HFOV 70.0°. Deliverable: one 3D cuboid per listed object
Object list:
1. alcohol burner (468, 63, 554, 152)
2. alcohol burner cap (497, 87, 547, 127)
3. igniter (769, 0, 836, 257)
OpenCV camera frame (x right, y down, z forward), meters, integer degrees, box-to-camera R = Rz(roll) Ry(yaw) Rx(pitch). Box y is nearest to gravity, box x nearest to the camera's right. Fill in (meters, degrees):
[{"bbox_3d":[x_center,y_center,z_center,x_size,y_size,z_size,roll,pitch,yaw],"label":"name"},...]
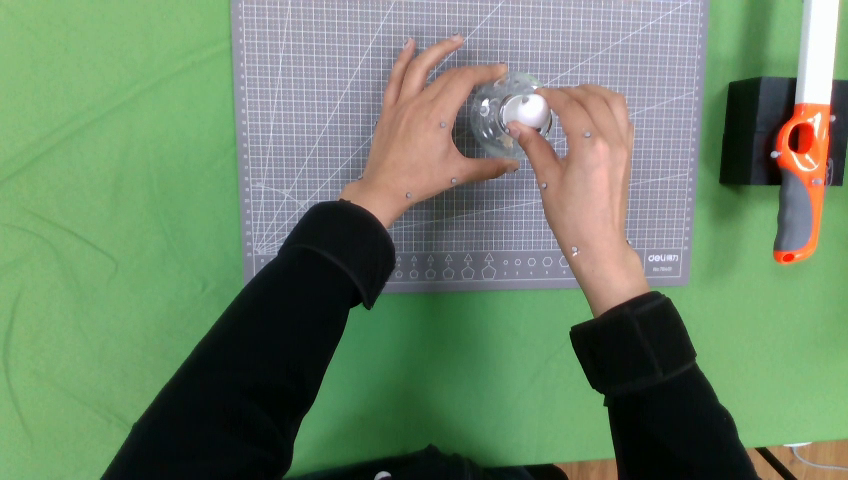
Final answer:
[{"bbox_3d":[0.080,-0.115,0.525,0.078,0.118,0.078,-2,99,-9],"label":"alcohol burner"},{"bbox_3d":[0.082,-0.109,0.496,0.034,0.047,0.034,-2,100,-11],"label":"alcohol burner cap"},{"bbox_3d":[0.356,-0.121,0.565,0.057,0.025,0.277,2,96,-8],"label":"igniter"}]
